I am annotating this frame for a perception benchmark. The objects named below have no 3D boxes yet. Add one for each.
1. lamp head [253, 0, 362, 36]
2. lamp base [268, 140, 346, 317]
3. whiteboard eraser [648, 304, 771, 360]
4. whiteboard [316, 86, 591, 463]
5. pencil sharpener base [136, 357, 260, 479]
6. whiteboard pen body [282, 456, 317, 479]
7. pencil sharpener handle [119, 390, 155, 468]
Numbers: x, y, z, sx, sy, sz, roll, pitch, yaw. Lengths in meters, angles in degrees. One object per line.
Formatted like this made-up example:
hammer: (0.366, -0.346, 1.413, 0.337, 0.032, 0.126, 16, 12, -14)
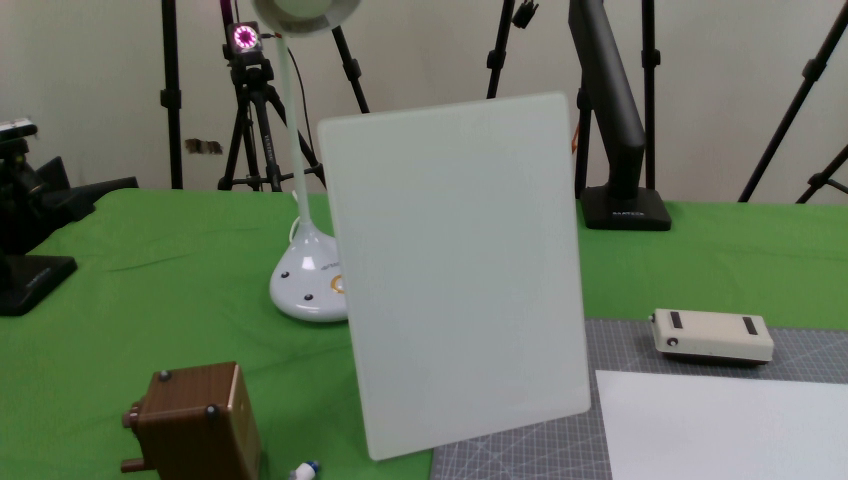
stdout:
lamp head: (-0.122, -0.266, 0.557, 0.113, 0.113, 0.121, -19, 59, -25)
lamp base: (-0.129, -0.023, 0.744, 0.161, 0.181, 0.177, -25, 35, -33)
whiteboard eraser: (0.300, 0.098, 0.642, 0.112, 0.042, 0.055, 4, 32, 10)
whiteboard: (0.024, 0.021, 0.594, 0.218, 0.306, 0.143, -9, 12, -10)
pencil sharpener base: (-0.187, 0.160, 0.509, 0.077, 0.108, 0.061, -7, 31, -6)
whiteboard pen body: (-0.134, 0.224, 0.483, 0.017, 0.017, 0.140, 15, 33, 27)
pencil sharpener handle: (-0.238, 0.156, 0.493, 0.031, 0.068, 0.035, -7, 19, -6)
